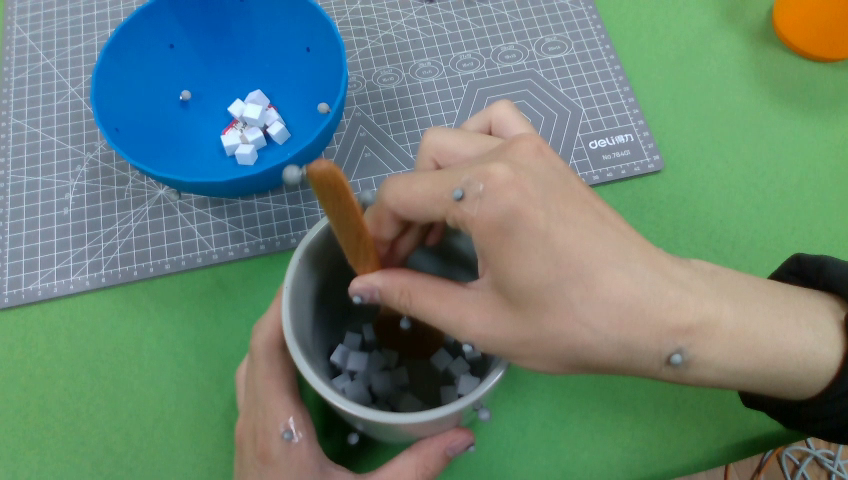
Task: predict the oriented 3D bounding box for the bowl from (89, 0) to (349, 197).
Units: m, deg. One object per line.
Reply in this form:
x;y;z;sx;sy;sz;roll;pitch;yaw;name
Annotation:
-0.120;-0.085;0.390;0.151;0.077;0.150;0;67;0;bowl

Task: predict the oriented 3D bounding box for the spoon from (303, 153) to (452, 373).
-0.016;0.024;0.276;0.041;0.195;0.021;-6;62;7;spoon

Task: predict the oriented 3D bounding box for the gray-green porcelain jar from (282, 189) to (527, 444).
-0.008;0.048;0.314;0.106;0.127;0.105;0;67;0;gray-green porcelain jar
